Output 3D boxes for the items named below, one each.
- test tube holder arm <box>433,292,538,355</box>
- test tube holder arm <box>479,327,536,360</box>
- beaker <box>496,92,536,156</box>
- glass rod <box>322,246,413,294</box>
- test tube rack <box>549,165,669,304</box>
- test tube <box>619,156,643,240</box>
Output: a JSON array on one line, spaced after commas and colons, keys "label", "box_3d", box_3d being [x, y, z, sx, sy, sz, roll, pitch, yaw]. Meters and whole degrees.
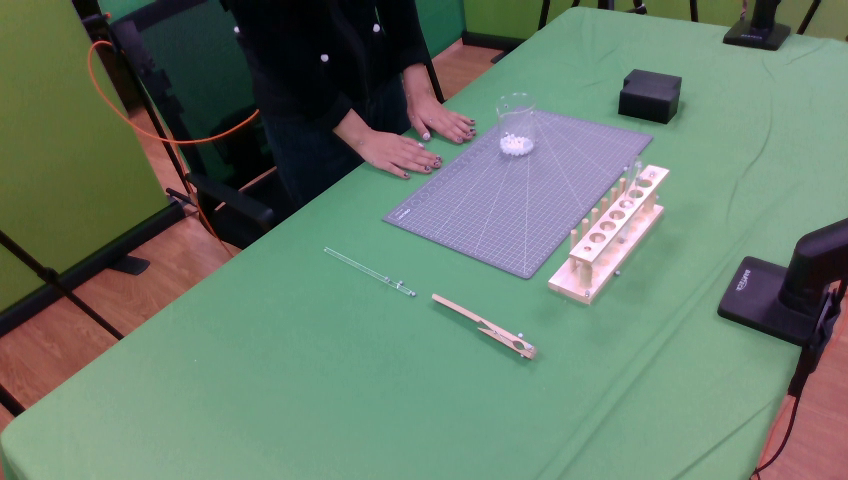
[{"label": "test tube holder arm", "box_3d": [0.081, 0.112, 0.832, 0.177, 0.015, 0.013, 28, 82, 36]}, {"label": "test tube holder arm", "box_3d": [0.110, 0.134, 0.805, 0.087, 0.015, 0.010, 29, 82, 36]}, {"label": "beaker", "box_3d": [0.172, -0.214, 1.137, 0.084, 0.101, 0.073, -36, 46, -27]}, {"label": "glass rod", "box_3d": [-0.093, 0.045, 0.956, 0.198, 0.008, 0.008, 24, 51, 33]}, {"label": "test tube rack", "box_3d": [0.279, -0.018, 0.902, 0.066, 0.085, 0.243, 24, 50, 33]}, {"label": "test tube", "box_3d": [0.296, -0.056, 0.866, 0.017, 0.151, 0.017, -4, 44, 4]}]
